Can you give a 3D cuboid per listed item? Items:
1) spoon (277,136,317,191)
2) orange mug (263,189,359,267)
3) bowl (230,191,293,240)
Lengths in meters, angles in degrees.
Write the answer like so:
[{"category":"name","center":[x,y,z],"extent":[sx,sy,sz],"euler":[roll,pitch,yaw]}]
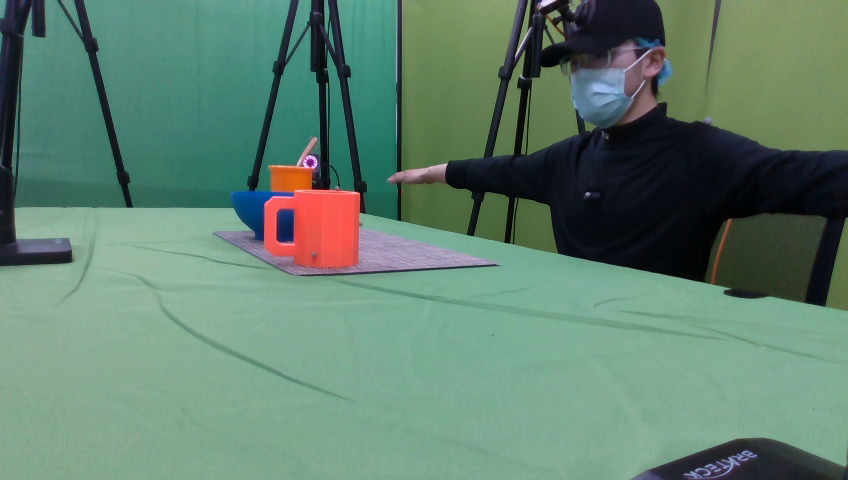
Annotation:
[{"category":"spoon","center":[-0.258,-0.152,1.247],"extent":[0.041,0.193,0.022],"euler":[2,-37,21]},{"category":"orange mug","center":[-0.147,-0.019,0.795],"extent":[0.127,0.100,0.083],"euler":[5,6,-19]},{"category":"bowl","center":[-0.249,-0.042,1.023],"extent":[0.151,0.077,0.151],"euler":[2,7,0]}]
